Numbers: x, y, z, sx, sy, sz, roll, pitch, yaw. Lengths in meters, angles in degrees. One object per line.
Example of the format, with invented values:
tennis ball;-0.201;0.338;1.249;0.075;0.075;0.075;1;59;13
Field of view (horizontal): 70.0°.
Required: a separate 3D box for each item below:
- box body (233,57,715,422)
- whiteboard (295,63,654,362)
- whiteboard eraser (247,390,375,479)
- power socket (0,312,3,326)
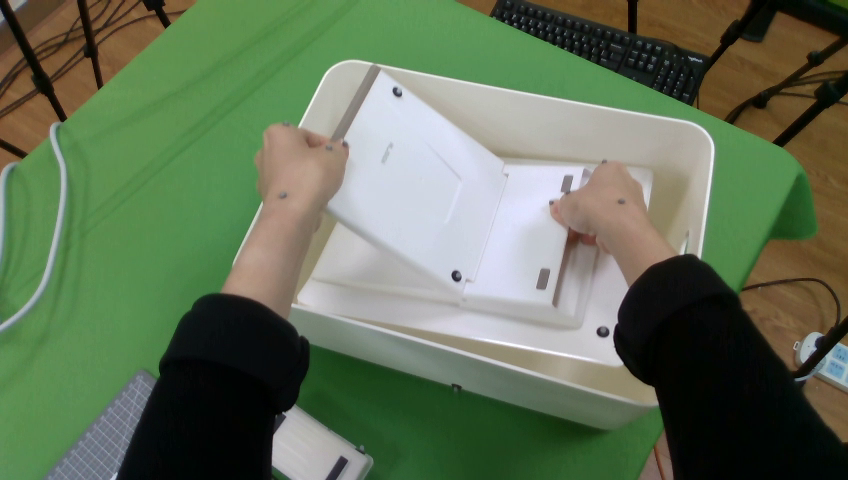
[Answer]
box body;0.051;0.002;0.577;0.363;0.162;0.252;13;66;12
whiteboard;0.037;-0.046;0.531;0.304;0.145;0.216;8;54;20
whiteboard eraser;-0.106;0.193;0.569;0.112;0.042;0.055;28;68;18
power socket;-0.546;0.147;0.639;0.072;0.033;0.226;26;69;16
